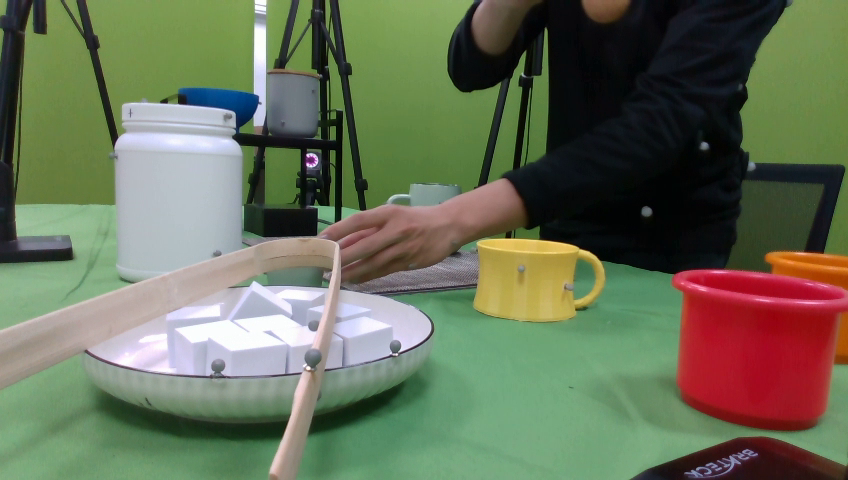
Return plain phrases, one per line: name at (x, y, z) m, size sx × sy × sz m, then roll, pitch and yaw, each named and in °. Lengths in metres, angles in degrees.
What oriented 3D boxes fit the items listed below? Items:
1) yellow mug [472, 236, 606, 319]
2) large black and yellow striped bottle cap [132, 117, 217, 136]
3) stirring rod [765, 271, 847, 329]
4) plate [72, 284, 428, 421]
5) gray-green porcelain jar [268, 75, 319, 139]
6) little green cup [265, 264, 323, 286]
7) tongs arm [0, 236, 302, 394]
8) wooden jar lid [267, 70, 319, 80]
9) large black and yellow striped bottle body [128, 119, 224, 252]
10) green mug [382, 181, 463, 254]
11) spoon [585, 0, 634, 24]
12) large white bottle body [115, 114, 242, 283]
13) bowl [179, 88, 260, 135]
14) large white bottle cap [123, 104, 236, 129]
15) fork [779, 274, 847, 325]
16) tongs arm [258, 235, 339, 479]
yellow mug at (0.114, 0.034, 0.589) m, size 0.131 × 0.064 × 0.100 m, roll 3°, pitch 6°, yaw -7°
large black and yellow striped bottle cap at (-0.359, -0.164, 0.875) m, size 0.115 × 0.019 × 0.115 m, roll 2°, pitch 6°, yaw 0°
stirring rod at (0.352, 0.020, 0.481) m, size 0.176 × 0.006 × 0.014 m, roll -40°, pitch -8°, yaw 17°
plate at (-0.102, 0.067, 0.381) m, size 0.208 × 0.039 × 0.207 m, roll 3°, pitch 7°, yaw 0°
gray-green porcelain jar at (-0.277, -0.279, 1.280) m, size 0.106 × 0.126 × 0.106 m, roll 2°, pitch 8°, yaw 0°
little green cup at (-0.134, 0.034, 0.628) m, size 0.061 × 0.038 × 0.061 m, roll 3°, pitch 7°, yaw 0°
tongs arm at (-0.157, 0.038, 0.347) m, size 0.028 × 0.028 × 0.388 m, roll -3°, pitch 8°, yaw 11°
wooden jar lid at (-0.275, -0.339, 1.271) m, size 0.108 × 0.020 × 0.108 m, roll 5°, pitch 6°, yaw 0°
large black and yellow striped bottle body at (-0.361, -0.081, 0.887) m, size 0.131 × 0.184 × 0.130 m, roll 2°, pitch 8°, yaw 0°
green mug at (-0.001, -0.036, 0.922) m, size 0.126 × 0.105 × 0.092 m, roll 0°, pitch 8°, yaw -16°
spoon at (0.166, -0.280, 0.537) m, size 0.041 × 0.193 × 0.022 m, roll 2°, pitch -18°, yaw 14°
large white bottle body at (-0.270, -0.051, 0.673) m, size 0.131 × 0.184 × 0.130 m, roll 2°, pitch 8°, yaw 0°
bowl at (-0.400, -0.248, 1.188) m, size 0.151 × 0.077 × 0.151 m, roll 3°, pitch 6°, yaw 0°
large white bottle cap at (-0.266, -0.135, 0.663) m, size 0.115 × 0.018 × 0.115 m, roll 3°, pitch 7°, yaw 0°
fork at (0.332, 0.018, 0.443) m, size 0.028 × 0.018 × 0.207 m, roll -3°, pitch -35°, yaw -16°
tongs arm at (-0.074, 0.040, 0.345) m, size 0.051 × 0.026 × 0.384 m, roll -2°, pitch 10°, yaw -3°
